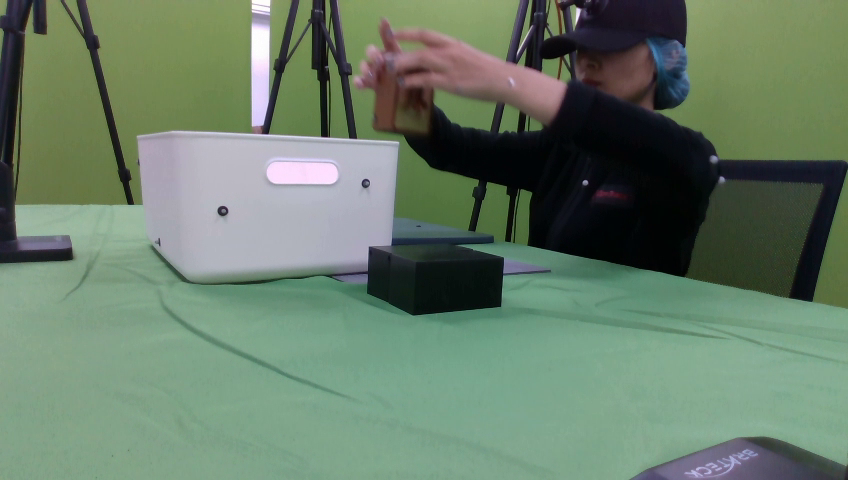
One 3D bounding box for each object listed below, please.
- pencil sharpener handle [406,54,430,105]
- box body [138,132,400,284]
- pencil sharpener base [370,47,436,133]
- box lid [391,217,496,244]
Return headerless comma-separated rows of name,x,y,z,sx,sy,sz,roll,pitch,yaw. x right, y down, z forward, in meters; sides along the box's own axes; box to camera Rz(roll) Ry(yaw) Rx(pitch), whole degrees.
pencil sharpener handle,-0.003,-0.212,0.799,0.036,0.067,0.030,4,6,-30
box body,-0.223,-0.056,0.807,0.255,0.160,0.362,-3,9,-31
pencil sharpener base,-0.029,-0.207,0.844,0.062,0.107,0.076,4,6,-30
box lid,-0.061,-0.021,1.188,0.265,0.015,0.369,-2,8,-32
